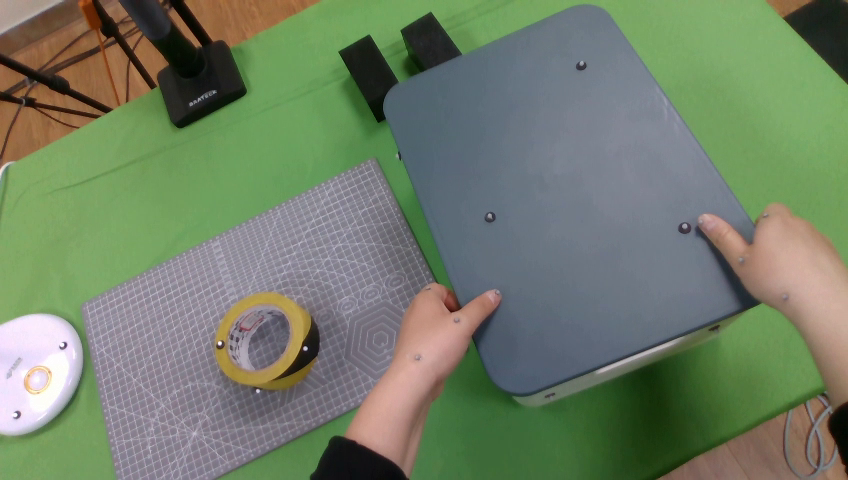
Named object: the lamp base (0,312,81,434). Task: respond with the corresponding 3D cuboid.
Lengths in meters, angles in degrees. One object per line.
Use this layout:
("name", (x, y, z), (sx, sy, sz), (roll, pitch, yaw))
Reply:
("lamp base", (-0.552, 0.143, 0.730), (0.178, 0.182, 0.160), (9, 71, 18))

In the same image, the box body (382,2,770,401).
("box body", (0.138, -0.036, 0.654), (0.254, 0.162, 0.360), (-23, 65, 3))

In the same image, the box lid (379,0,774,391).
("box lid", (0.122, -0.067, 0.585), (0.263, 0.015, 0.368), (-23, 64, 2))

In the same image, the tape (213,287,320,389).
("tape", (-0.189, 0.117, 0.728), (0.116, 0.053, 0.116), (-4, 68, 10))
